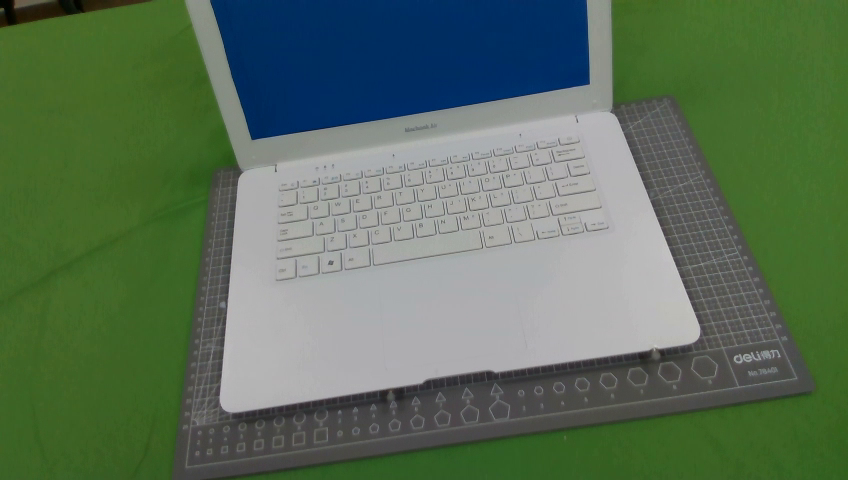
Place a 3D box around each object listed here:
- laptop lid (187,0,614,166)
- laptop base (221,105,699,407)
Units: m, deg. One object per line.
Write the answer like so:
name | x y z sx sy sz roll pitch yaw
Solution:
laptop lid | -0.017 -0.194 0.512 0.357 0.243 0.013 -10 28 3
laptop base | 0.013 0.003 0.503 0.354 0.023 0.233 -9 59 2
